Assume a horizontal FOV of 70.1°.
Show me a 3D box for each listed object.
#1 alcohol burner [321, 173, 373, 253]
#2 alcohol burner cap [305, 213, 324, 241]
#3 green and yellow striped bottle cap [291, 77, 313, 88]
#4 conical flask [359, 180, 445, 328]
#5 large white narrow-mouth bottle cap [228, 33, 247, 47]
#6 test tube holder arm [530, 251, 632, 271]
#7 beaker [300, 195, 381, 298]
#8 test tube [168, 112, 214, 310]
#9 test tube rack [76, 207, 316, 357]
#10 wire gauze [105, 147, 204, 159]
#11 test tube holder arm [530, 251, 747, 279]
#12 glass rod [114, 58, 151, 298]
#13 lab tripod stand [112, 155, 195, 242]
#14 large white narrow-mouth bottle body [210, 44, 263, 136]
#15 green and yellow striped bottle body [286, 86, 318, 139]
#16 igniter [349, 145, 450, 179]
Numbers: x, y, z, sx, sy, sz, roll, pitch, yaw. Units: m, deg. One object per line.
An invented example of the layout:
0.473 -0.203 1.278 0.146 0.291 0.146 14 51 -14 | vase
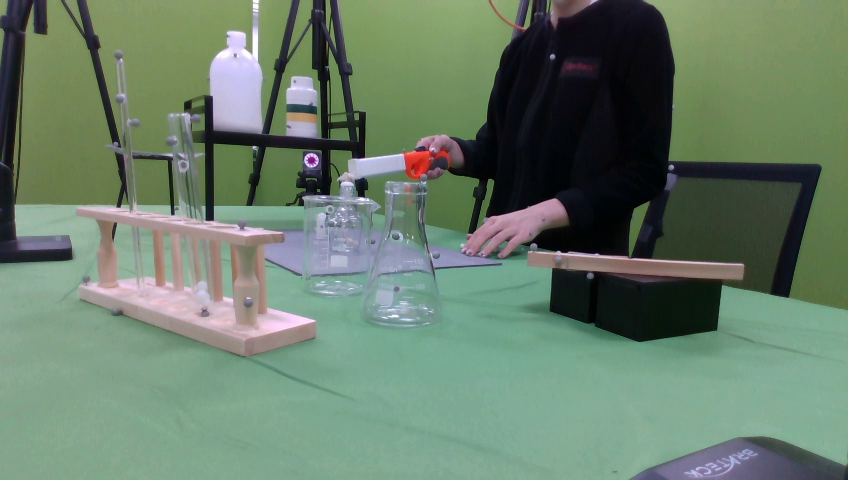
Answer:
-0.115 -0.041 0.905 0.078 0.119 0.078 1 6 0 | alcohol burner
-0.185 -0.023 1.027 0.034 0.048 0.034 3 7 0 | alcohol burner cap
-0.250 -0.321 1.237 0.045 0.020 0.045 3 6 0 | green and yellow striped bottle cap
-0.017 0.010 0.522 0.075 0.122 0.075 2 7 0 | conical flask
-0.364 -0.389 1.181 0.038 0.024 0.037 3 8 0 | large white narrow-mouth bottle cap
0.139 0.019 0.538 0.087 0.015 0.010 3 7 13 | test tube holder arm
-0.087 0.006 0.626 0.084 0.100 0.074 1 8 -17 | beaker
-0.175 -0.020 0.455 0.017 0.150 0.017 -4 9 1 | test tube
-0.196 0.023 0.500 0.241 0.085 0.067 8 9 36 | test tube rack
-0.407 -0.131 0.928 0.125 0.011 0.121 2 6 -11 | wire gauze
0.182 0.022 0.523 0.178 0.015 0.013 3 7 12 | test tube holder arm
-0.236 -0.044 0.492 0.008 0.199 0.008 0 15 0 | glass rod
-0.405 -0.064 0.931 0.148 0.131 0.148 1 6 0 | lab tripod stand
-0.369 -0.306 1.194 0.102 0.194 0.102 3 8 0 | large white narrow-mouth bottle body
-0.251 -0.270 1.245 0.063 0.119 0.063 2 7 0 | green and yellow striped bottle body
-0.031 -0.131 1.031 0.025 0.057 0.278 -3 8 34 | igniter
